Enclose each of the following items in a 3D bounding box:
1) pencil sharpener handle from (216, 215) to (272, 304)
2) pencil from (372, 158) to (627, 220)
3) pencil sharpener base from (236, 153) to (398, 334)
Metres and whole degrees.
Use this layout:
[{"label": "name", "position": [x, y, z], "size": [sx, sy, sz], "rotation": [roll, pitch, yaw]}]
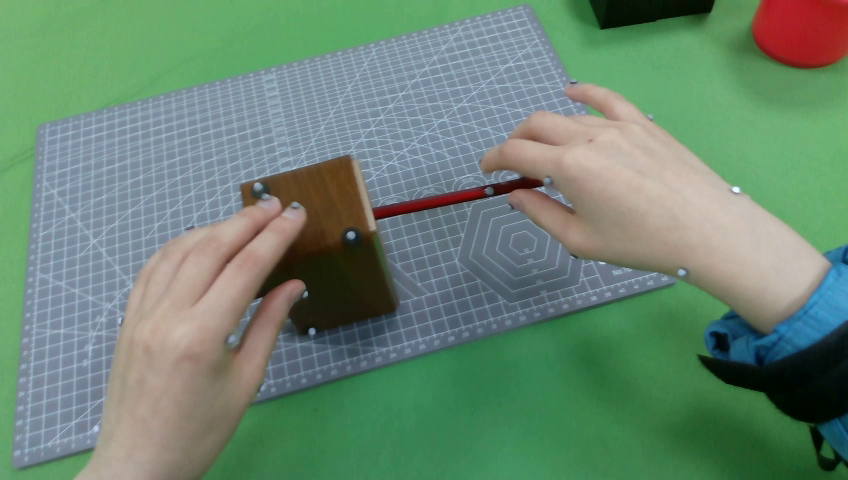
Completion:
[{"label": "pencil sharpener handle", "position": [-0.114, 0.016, 0.365], "size": [0.030, 0.068, 0.035], "rotation": [-15, 53, -3]}, {"label": "pencil", "position": [0.029, -0.027, 0.365], "size": [0.194, 0.012, 0.012], "rotation": [-11, 59, -6]}, {"label": "pencil sharpener base", "position": [-0.064, 0.007, 0.380], "size": [0.077, 0.108, 0.061], "rotation": [-15, 60, -3]}]
